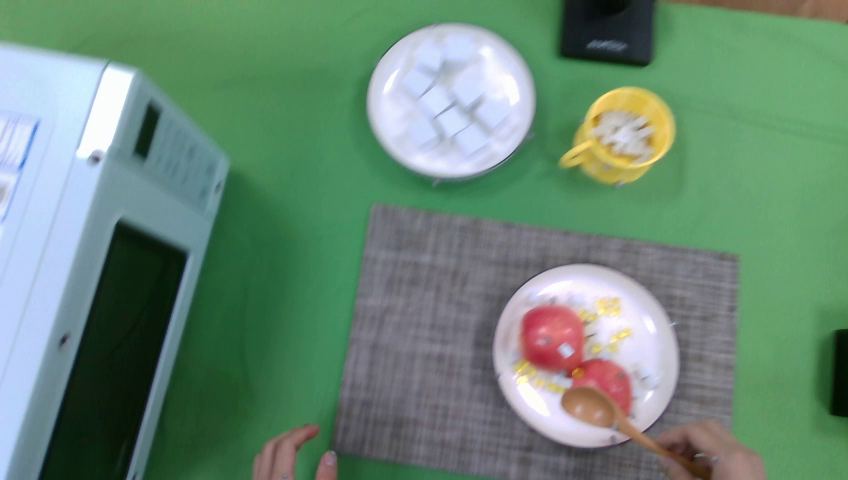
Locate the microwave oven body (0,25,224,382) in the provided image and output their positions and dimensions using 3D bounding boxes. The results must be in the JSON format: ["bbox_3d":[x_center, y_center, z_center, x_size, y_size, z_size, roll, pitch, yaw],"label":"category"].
[{"bbox_3d":[-0.442,0.037,0.608,0.326,0.261,0.440,12,80,3],"label":"microwave oven body"}]

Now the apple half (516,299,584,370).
[{"bbox_3d":[0.143,0.105,0.683,0.074,0.053,0.080,7,80,5],"label":"apple half"}]

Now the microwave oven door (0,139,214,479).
[{"bbox_3d":[-0.309,0.107,0.588,0.039,0.245,0.354,12,79,4],"label":"microwave oven door"}]

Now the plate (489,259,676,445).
[{"bbox_3d":[0.178,0.126,0.695,0.209,0.038,0.208,0,80,1],"label":"plate"}]

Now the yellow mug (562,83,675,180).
[{"bbox_3d":[0.228,-0.124,0.730,0.131,0.064,0.099,-22,79,-3],"label":"yellow mug"}]

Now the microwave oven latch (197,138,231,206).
[{"bbox_3d":[-0.256,-0.083,0.726,0.030,0.029,0.079,14,81,3],"label":"microwave oven latch"}]

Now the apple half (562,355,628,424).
[{"bbox_3d":[0.195,0.168,0.681,0.081,0.033,0.081,0,76,1],"label":"apple half"}]

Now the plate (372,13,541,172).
[{"bbox_3d":[0.041,-0.181,0.759,0.208,0.039,0.206,0,79,1],"label":"plate"}]

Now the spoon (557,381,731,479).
[{"bbox_3d":[0.216,0.192,0.580,0.193,0.021,0.042,31,113,10],"label":"spoon"}]

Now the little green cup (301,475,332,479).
[{"bbox_3d":[-0.120,0.291,0.672,0.061,0.039,0.061,0,79,0],"label":"little green cup"}]
